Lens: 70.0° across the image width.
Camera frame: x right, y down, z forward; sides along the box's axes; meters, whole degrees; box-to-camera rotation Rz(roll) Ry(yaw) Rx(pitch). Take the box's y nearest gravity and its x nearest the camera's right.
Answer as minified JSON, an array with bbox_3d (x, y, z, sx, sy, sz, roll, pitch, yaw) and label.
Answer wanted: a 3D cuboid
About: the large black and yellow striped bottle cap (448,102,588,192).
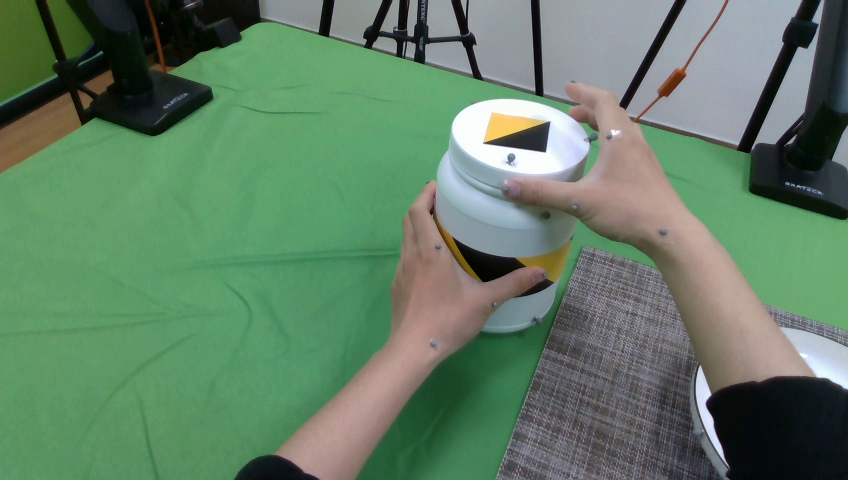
[{"bbox_3d":[0.077,-0.080,0.500,0.115,0.019,0.114,3,41,-2],"label":"large black and yellow striped bottle cap"}]

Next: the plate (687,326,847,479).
[{"bbox_3d":[0.317,0.162,0.493,0.208,0.039,0.205,3,42,-3],"label":"plate"}]

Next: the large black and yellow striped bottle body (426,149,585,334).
[{"bbox_3d":[0.071,-0.017,0.558,0.131,0.185,0.129,3,42,-2],"label":"large black and yellow striped bottle body"}]
